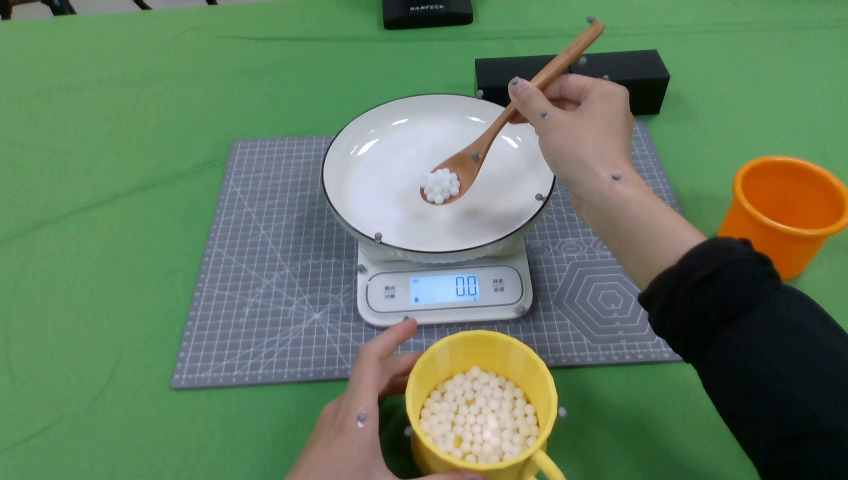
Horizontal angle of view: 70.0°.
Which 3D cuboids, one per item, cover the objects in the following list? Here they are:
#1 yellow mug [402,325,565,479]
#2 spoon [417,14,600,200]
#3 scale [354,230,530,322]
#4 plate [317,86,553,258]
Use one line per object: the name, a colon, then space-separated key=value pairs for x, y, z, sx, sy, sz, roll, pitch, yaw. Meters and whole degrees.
yellow mug: x=0.047 y=0.127 z=0.416 sx=0.100 sy=0.064 sz=0.129 roll=-37 pitch=59 yaw=-23
spoon: x=0.065 y=-0.103 z=0.481 sx=0.194 sy=0.022 sz=0.041 roll=-46 pitch=52 yaw=18
scale: x=0.012 y=-0.019 z=0.554 sx=0.149 sy=0.032 sz=0.199 roll=-3 pitch=51 yaw=0
plate: x=0.009 y=-0.062 z=0.547 sx=0.209 sy=0.038 sz=0.207 roll=0 pitch=51 yaw=1
